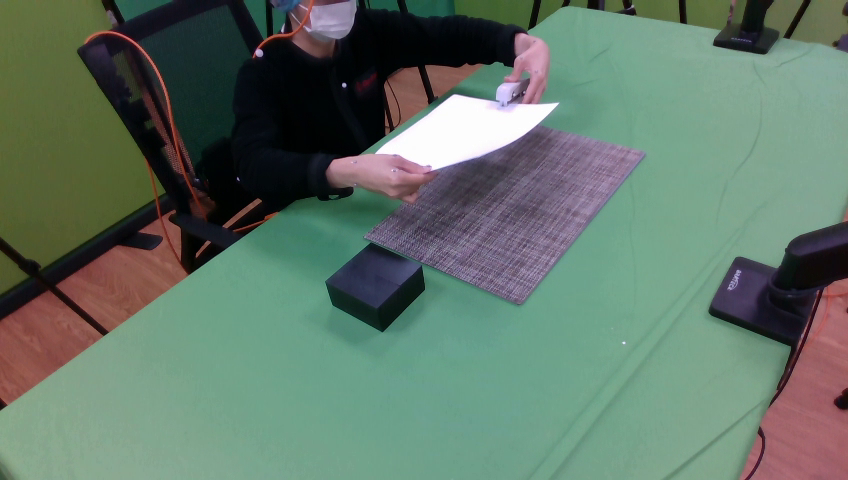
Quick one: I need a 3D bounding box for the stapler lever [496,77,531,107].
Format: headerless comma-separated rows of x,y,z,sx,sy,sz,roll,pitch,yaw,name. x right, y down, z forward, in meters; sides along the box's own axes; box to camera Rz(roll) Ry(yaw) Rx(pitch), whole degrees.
0.167,-0.284,1.126,0.026,0.040,0.118,16,42,24,stapler lever

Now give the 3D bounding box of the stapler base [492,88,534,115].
0.168,-0.267,1.136,0.041,0.024,0.131,16,36,24,stapler base
